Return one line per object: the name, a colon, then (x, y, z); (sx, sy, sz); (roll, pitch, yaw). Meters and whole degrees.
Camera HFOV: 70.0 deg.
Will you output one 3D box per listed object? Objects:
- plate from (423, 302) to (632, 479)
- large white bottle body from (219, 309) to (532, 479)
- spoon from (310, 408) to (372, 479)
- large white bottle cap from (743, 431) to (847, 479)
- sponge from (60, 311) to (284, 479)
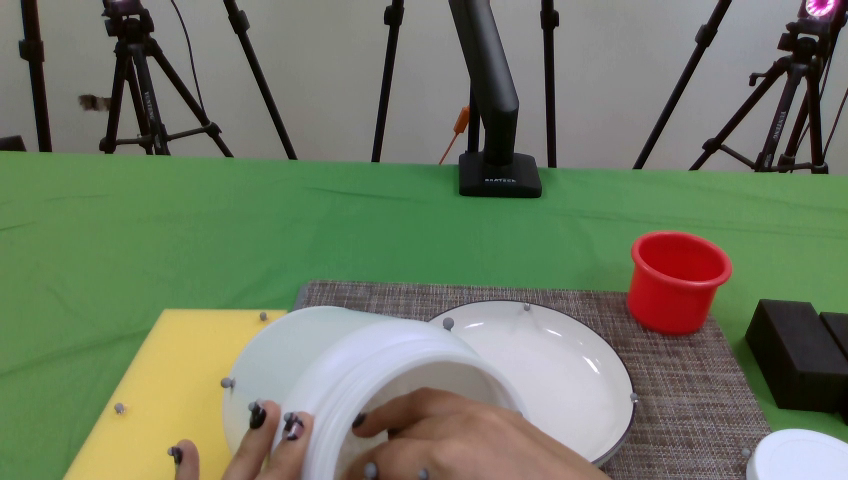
plate: (0.076, 0.135, 0.544); (0.209, 0.038, 0.207); (1, 33, -1)
large white bottle body: (-0.036, 0.109, 0.346); (0.131, 0.131, 0.184); (-19, 6, -28)
spoon: (-0.040, 0.114, 0.325); (0.042, 0.021, 0.193); (-11, -1, -12)
large white bottle cap: (0.313, 0.200, 0.475); (0.115, 0.018, 0.114); (3, 34, -2)
sponge: (-0.191, 0.147, 0.500); (0.118, 0.061, 0.205); (0, 33, 2)
